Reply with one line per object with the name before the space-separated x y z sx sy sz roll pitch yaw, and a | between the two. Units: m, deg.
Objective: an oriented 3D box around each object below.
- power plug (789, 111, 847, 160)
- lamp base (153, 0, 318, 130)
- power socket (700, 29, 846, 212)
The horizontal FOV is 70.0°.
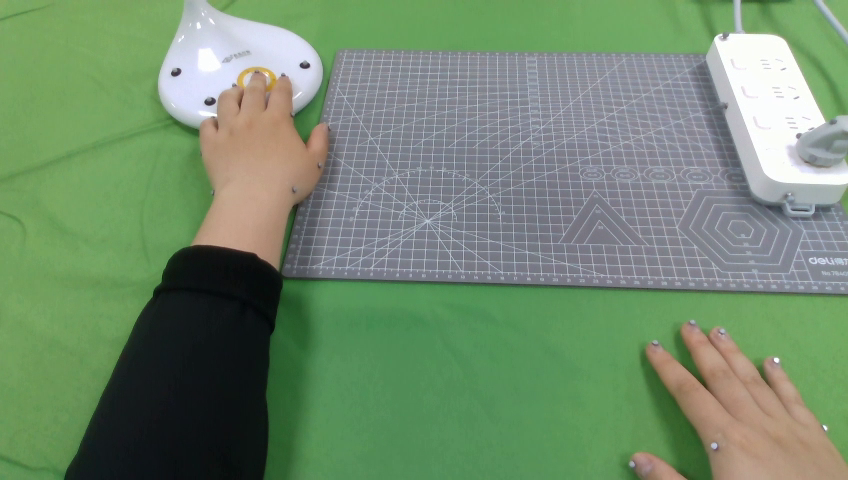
power plug | 0.331 -0.075 0.483 0.072 0.053 0.035 12 52 9
lamp base | -0.198 -0.219 0.550 0.177 0.182 0.160 34 59 28
power socket | 0.307 -0.120 0.548 0.072 0.033 0.224 3 52 2
